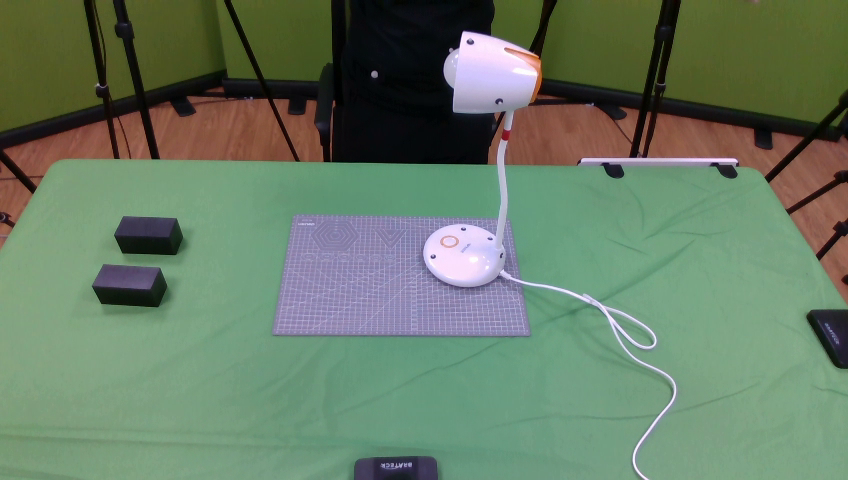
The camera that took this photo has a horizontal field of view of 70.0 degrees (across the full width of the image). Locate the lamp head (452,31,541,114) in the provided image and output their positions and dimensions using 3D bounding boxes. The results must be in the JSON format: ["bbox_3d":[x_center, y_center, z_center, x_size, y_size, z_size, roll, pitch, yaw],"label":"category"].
[{"bbox_3d":[0.102,-0.228,0.858,0.123,0.113,0.112,11,46,0],"label":"lamp head"}]

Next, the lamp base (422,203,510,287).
[{"bbox_3d":[0.092,-0.021,1.111,0.179,0.181,0.160,23,49,14],"label":"lamp base"}]
